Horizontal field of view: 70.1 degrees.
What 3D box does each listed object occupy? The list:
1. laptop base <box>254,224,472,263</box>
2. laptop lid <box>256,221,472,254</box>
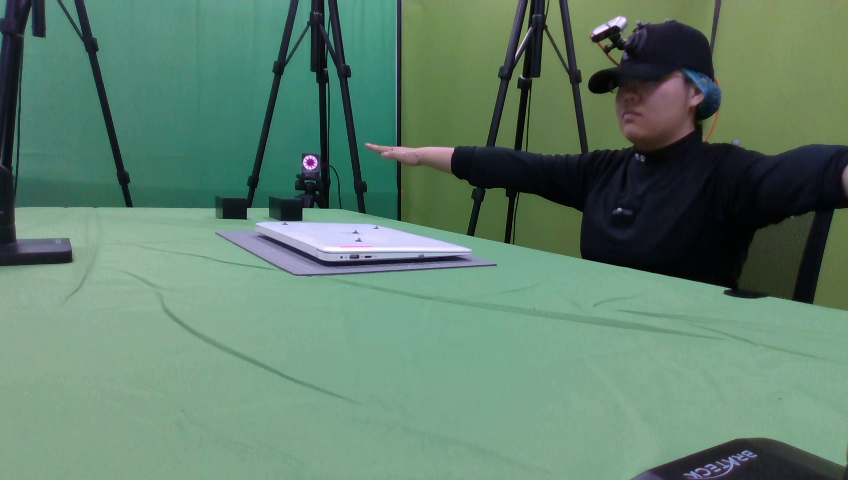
[{"bbox_3d":[-0.115,0.005,0.973,0.237,0.023,0.352,2,6,-31],"label":"laptop base"},{"bbox_3d":[-0.112,-0.007,0.972,0.243,0.013,0.355,1,7,-29],"label":"laptop lid"}]
